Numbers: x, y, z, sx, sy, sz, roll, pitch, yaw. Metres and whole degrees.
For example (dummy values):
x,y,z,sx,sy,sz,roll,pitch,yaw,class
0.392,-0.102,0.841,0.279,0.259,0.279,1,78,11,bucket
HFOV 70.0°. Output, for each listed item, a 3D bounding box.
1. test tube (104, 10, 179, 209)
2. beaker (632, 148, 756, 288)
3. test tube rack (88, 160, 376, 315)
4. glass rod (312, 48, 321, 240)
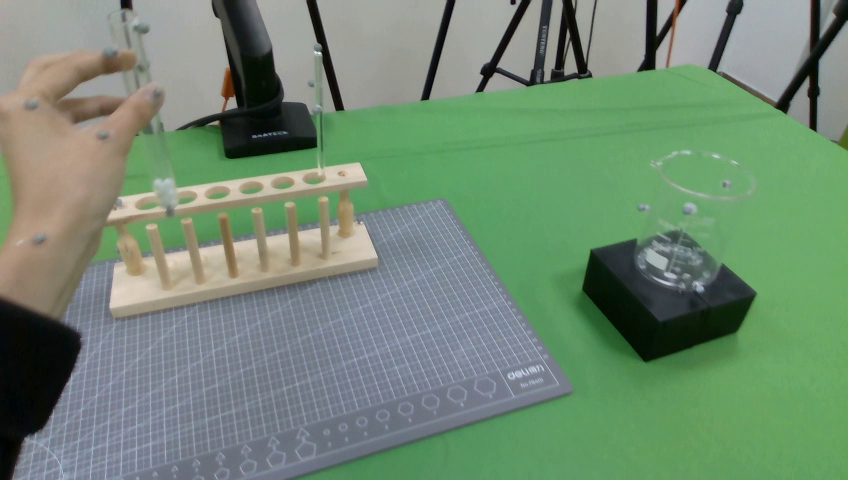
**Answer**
x,y,z,sx,sy,sz,roll,pitch,yaw,class
-0.180,-0.076,0.394,0.017,0.151,0.017,5,47,-5,test tube
0.217,-0.017,0.508,0.083,0.101,0.074,27,45,30,beaker
-0.172,-0.006,0.571,0.243,0.086,0.066,-11,40,-15,test tube rack
-0.099,-0.079,0.558,0.008,0.201,0.008,5,39,-3,glass rod
